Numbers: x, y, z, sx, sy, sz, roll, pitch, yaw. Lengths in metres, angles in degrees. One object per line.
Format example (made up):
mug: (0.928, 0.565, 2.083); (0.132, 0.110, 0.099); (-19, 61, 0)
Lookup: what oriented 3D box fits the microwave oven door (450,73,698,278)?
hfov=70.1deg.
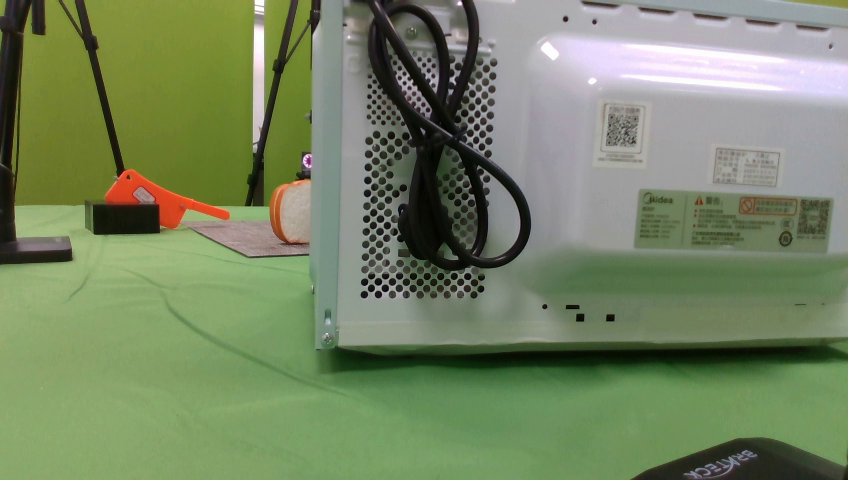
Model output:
microwave oven door: (0.183, -0.094, 0.835); (0.354, 0.243, 0.039); (9, 10, 44)

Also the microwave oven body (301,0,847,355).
microwave oven body: (0.120, -0.053, 0.535); (0.443, 0.260, 0.325); (2, 7, -11)

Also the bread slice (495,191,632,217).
bread slice: (0.160, -0.041, 0.673); (0.134, 0.018, 0.107); (1, 11, 25)

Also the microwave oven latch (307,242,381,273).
microwave oven latch: (-0.086, 0.019, 0.656); (0.079, 0.029, 0.030); (2, 7, -10)

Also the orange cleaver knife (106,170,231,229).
orange cleaver knife: (-0.458, -0.060, 1.097); (0.212, 0.077, 0.012); (23, -4, -38)

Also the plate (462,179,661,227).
plate: (0.145, -0.041, 0.653); (0.208, 0.039, 0.207); (-2, 8, 1)
